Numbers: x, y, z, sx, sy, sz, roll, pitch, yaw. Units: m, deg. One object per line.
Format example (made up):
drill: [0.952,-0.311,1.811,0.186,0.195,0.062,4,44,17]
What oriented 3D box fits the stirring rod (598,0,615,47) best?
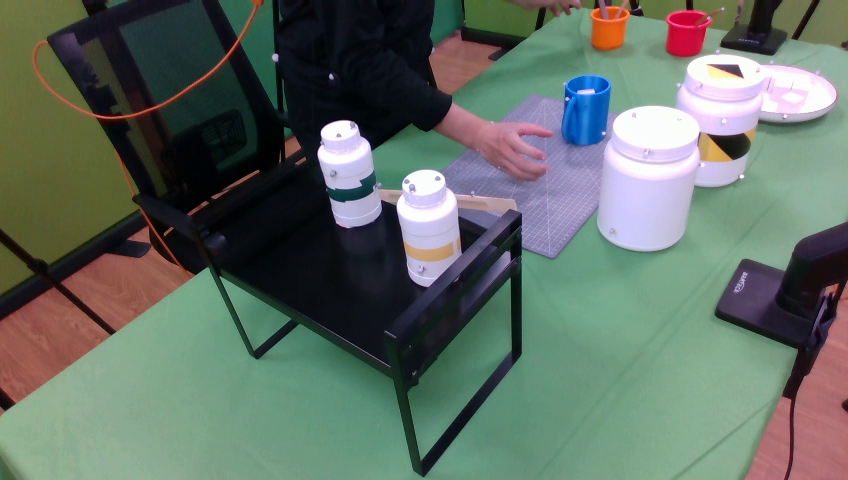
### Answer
stirring rod: [0.437,-0.551,1.462,0.014,0.006,0.175,-11,83,1]

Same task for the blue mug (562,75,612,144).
blue mug: [0.298,-0.239,1.143,0.117,0.106,0.081,-37,48,-29]

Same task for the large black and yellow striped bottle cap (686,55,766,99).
large black and yellow striped bottle cap: [0.474,-0.258,0.952,0.115,0.019,0.114,-5,41,5]

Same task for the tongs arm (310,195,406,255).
tongs arm: [-0.078,-0.013,0.944,0.028,0.028,0.384,-42,39,-23]

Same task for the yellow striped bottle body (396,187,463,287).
yellow striped bottle body: [0.006,-0.013,0.638,0.063,0.121,0.062,-5,41,5]

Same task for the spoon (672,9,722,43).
spoon: [0.606,-0.476,1.345,0.042,0.021,0.193,-6,-3,-2]

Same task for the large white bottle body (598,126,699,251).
large white bottle body: [0.334,-0.090,0.906,0.130,0.185,0.130,-5,41,4]

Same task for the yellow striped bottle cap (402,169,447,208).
yellow striped bottle cap: [0.000,-0.052,0.604,0.044,0.019,0.044,-5,43,5]

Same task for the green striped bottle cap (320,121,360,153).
green striped bottle cap: [-0.097,-0.120,0.699,0.044,0.020,0.044,-3,40,3]

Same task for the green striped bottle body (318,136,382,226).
green striped bottle body: [-0.090,-0.080,0.733,0.063,0.120,0.063,-4,41,4]

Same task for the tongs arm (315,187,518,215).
tongs arm: [-0.028,-0.060,0.988,0.382,0.027,0.051,10,45,36]

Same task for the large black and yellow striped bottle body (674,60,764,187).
large black and yellow striped bottle body: [0.482,-0.196,1.008,0.131,0.185,0.130,-4,41,4]

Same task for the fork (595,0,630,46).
fork: [0.480,-0.556,1.453,0.028,0.019,0.207,41,103,40]

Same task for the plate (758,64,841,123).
plate: [0.695,-0.283,1.189,0.207,0.039,0.206,-4,40,4]

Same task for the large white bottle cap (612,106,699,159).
large white bottle cap: [0.325,-0.153,0.850,0.115,0.018,0.114,-4,41,4]
